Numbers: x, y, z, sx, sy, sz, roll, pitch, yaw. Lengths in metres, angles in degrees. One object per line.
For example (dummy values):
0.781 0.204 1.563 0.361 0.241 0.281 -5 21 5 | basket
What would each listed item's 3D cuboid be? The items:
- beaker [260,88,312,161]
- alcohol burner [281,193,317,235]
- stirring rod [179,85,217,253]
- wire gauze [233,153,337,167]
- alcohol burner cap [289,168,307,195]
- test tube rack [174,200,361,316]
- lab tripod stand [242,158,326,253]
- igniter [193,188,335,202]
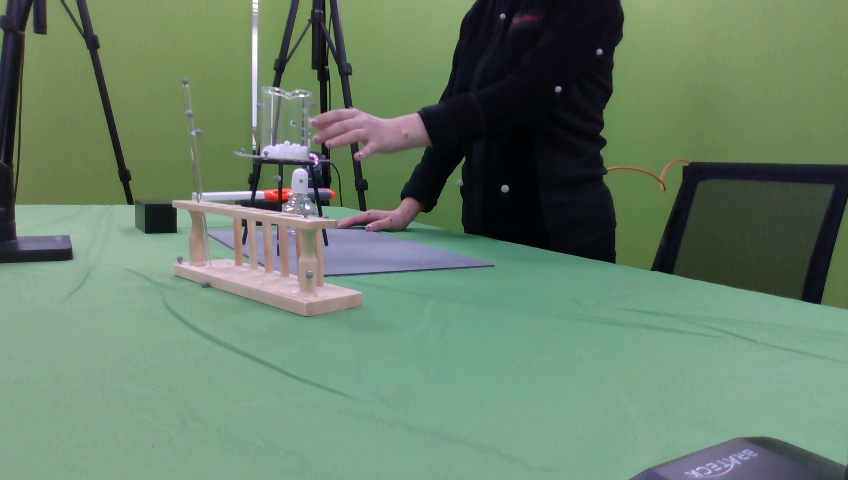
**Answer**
-0.201 -0.166 0.876 0.074 0.100 0.083 1 7 -18 | beaker
-0.225 -0.069 1.086 0.078 0.119 0.078 2 6 0 | alcohol burner
-0.236 -0.073 0.634 0.006 0.176 0.014 0 10 42 | stirring rod
-0.205 -0.119 0.887 0.122 0.011 0.124 2 4 -32 | wire gauze
-0.224 -0.105 1.081 0.034 0.048 0.034 4 3 0 | alcohol burner cap
-0.169 0.009 0.622 0.241 0.085 0.067 9 9 41 | test tube rack
-0.207 -0.054 0.895 0.148 0.131 0.148 2 5 0 | lab tripod stand
-0.312 -0.089 1.209 0.278 0.025 0.057 -5 13 -31 | igniter
